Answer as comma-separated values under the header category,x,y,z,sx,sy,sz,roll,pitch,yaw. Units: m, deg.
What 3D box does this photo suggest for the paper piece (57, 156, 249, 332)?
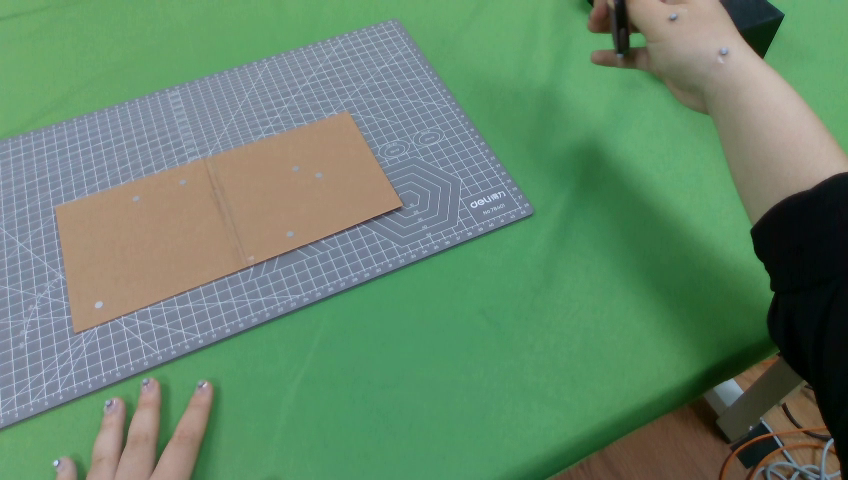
category,x,y,z,sx,sy,sz,roll,pitch,yaw
paper piece,-0.227,-0.005,0.500,0.138,0.009,0.134,-22,54,-11

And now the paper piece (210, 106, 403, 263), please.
category,x,y,z,sx,sy,sz,roll,pitch,yaw
paper piece,-0.106,-0.055,0.528,0.135,0.004,0.134,-23,56,-11

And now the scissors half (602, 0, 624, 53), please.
category,x,y,z,sx,sy,sz,roll,pitch,yaw
scissors half,0.134,-0.230,0.450,0.013,0.176,0.040,-6,22,19

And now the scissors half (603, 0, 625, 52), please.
category,x,y,z,sx,sy,sz,roll,pitch,yaw
scissors half,0.128,-0.224,0.432,0.013,0.040,0.175,-8,95,14
